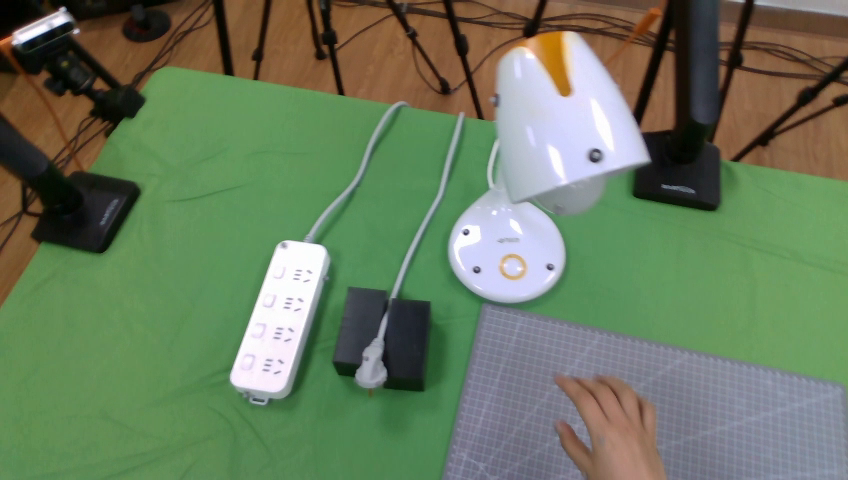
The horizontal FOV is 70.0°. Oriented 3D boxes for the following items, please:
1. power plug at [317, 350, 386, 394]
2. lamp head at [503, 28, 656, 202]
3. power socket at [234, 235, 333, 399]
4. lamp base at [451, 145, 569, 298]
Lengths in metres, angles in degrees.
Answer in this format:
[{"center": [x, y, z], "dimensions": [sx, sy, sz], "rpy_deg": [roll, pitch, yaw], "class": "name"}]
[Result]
[{"center": [-0.080, 0.152, 0.693], "dimensions": [0.072, 0.053, 0.035], "rpy_deg": [-6, 16, 4], "class": "power plug"}, {"center": [0.111, -0.100, 0.479], "dimensions": [0.112, 0.112, 0.122], "rpy_deg": [-16, 84, -7], "class": "lamp head"}, {"center": [-0.178, 0.091, 0.784], "dimensions": [0.072, 0.033, 0.225], "rpy_deg": [10, 60, 6], "class": "power socket"}, {"center": [0.111, -0.043, 0.769], "dimensions": [0.161, 0.182, 0.177], "rpy_deg": [-13, 58, -6], "class": "lamp base"}]
